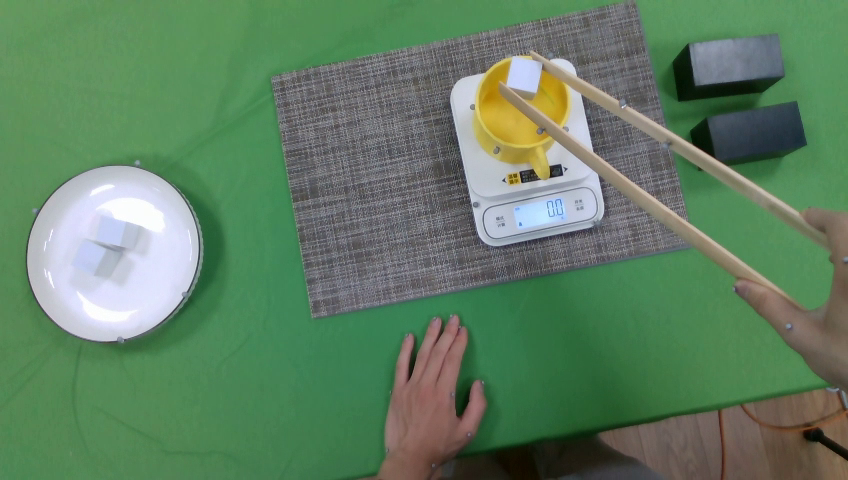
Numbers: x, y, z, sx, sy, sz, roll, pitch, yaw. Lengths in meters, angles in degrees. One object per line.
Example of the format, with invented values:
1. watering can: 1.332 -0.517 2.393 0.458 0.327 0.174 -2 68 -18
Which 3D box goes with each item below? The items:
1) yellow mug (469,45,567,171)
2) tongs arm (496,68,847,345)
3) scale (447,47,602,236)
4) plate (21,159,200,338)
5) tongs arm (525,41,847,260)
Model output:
1. yellow mug: 0.105 -0.136 0.654 0.100 0.064 0.130 -22 85 0
2. tongs arm: 0.188 -0.045 0.497 0.028 0.028 0.383 -41 58 -4
3. scale: 0.115 -0.114 0.699 0.148 0.031 0.200 -12 85 2
4. plate: -0.362 0.010 0.713 0.207 0.039 0.207 0 85 2
5. tongs arm: 0.208 -0.063 0.497 0.051 0.027 0.381 -46 59 -2
